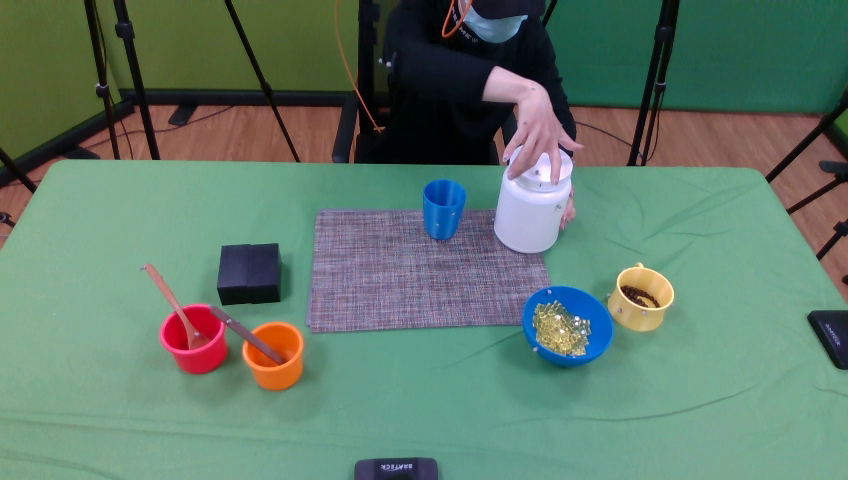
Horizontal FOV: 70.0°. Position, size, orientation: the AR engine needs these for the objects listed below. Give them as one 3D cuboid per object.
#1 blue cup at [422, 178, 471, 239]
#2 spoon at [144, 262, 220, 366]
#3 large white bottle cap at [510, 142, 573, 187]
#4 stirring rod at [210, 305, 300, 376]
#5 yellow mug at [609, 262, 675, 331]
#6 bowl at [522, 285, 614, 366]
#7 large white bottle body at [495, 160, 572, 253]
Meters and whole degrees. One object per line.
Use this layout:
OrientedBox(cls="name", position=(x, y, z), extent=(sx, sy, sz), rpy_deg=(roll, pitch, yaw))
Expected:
OrientedBox(cls="blue cup", position=(0.035, -0.056, 1.192), extent=(0.093, 0.101, 0.092), rpy_deg=(3, 46, -3))
OrientedBox(cls="spoon", position=(-0.389, 0.118, 0.970), extent=(0.041, 0.021, 0.194), rpy_deg=(-34, 101, -34))
OrientedBox(cls="large white bottle cap", position=(0.214, -0.140, 1.108), extent=(0.115, 0.018, 0.114), rpy_deg=(2, 46, -2))
OrientedBox(cls="stirring rod", position=(-0.262, 0.158, 0.946), extent=(0.177, 0.006, 0.014), rpy_deg=(44, 43, -21))
OrientedBox(cls="yellow mug", position=(0.393, 0.094, 1.103), extent=(0.100, 0.064, 0.130), rpy_deg=(7, 45, 4))
OrientedBox(cls="bowl", position=(0.235, 0.158, 1.022), extent=(0.151, 0.077, 0.150), rpy_deg=(2, 46, -2))
OrientedBox(cls="large white bottle body", position=(0.212, -0.079, 1.169), extent=(0.131, 0.185, 0.130), rpy_deg=(2, 46, -1))
